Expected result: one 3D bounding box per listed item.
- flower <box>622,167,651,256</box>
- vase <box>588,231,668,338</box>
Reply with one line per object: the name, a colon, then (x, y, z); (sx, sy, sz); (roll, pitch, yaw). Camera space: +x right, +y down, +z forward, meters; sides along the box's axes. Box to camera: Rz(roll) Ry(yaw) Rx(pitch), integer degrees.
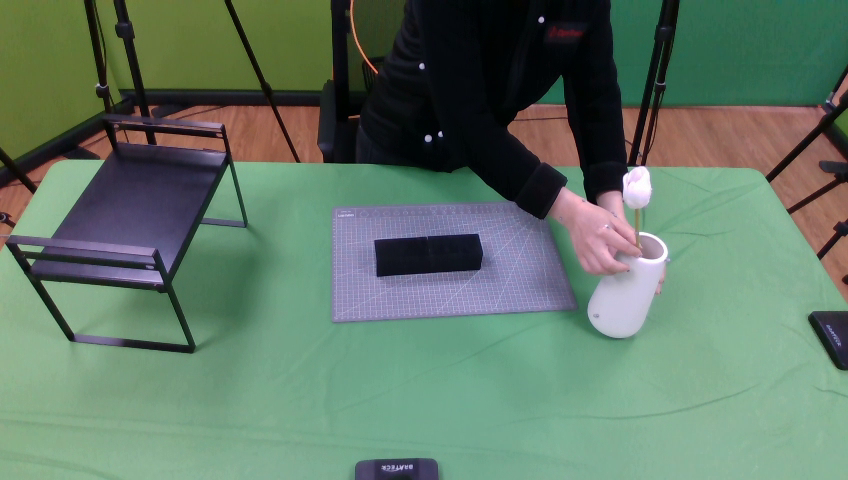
flower: (0.334, 0.028, 0.948); (0.038, 0.364, 0.044); (3, 52, 23)
vase: (0.344, 0.079, 1.022); (0.098, 0.201, 0.097); (1, 47, -1)
